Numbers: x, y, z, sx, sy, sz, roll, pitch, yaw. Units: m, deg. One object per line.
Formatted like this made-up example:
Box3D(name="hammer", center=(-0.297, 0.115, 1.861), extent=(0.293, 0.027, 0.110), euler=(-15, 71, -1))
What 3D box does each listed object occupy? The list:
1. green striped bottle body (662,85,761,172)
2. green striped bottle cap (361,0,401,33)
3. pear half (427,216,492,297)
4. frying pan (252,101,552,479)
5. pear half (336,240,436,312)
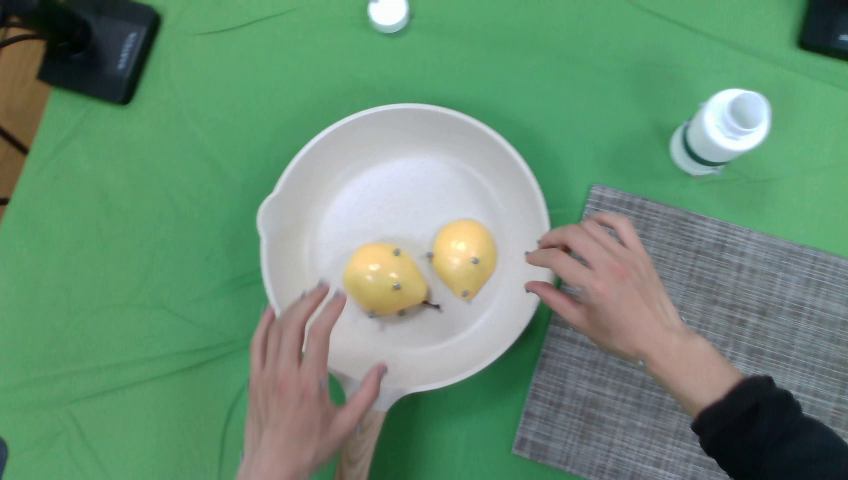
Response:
Box3D(name="green striped bottle body", center=(0.290, -0.113, 0.610), extent=(0.063, 0.119, 0.063), euler=(0, 82, 3))
Box3D(name="green striped bottle cap", center=(-0.049, -0.262, 0.694), extent=(0.044, 0.020, 0.044), euler=(0, 83, 4))
Box3D(name="pear half", center=(0.037, 0.015, 0.649), extent=(0.070, 0.031, 0.087), euler=(-5, 79, 7))
Box3D(name="frying pan", center=(-0.047, 0.102, 0.609), extent=(0.306, 0.103, 0.485), euler=(13, 76, 5))
Box3D(name="pear half", center=(-0.036, 0.044, 0.639), extent=(0.110, 0.056, 0.076), euler=(23, 90, 2))
